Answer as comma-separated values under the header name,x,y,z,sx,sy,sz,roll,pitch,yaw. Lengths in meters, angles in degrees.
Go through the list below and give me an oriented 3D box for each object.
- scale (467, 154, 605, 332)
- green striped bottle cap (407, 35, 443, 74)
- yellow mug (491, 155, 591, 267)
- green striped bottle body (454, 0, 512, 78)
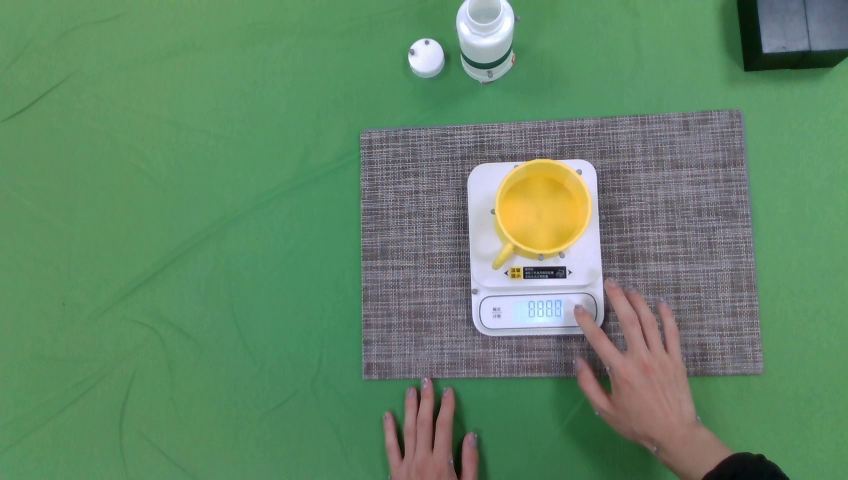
name,x,y,z,sx,sy,sz,roll,pitch,yaw
scale,0.127,0.003,0.694,0.148,0.031,0.200,-3,84,6
green striped bottle cap,0.001,-0.229,0.747,0.044,0.020,0.044,0,89,5
yellow mug,0.115,-0.023,0.650,0.099,0.064,0.131,38,89,8
green striped bottle body,0.067,-0.236,0.687,0.063,0.119,0.063,-1,82,6
